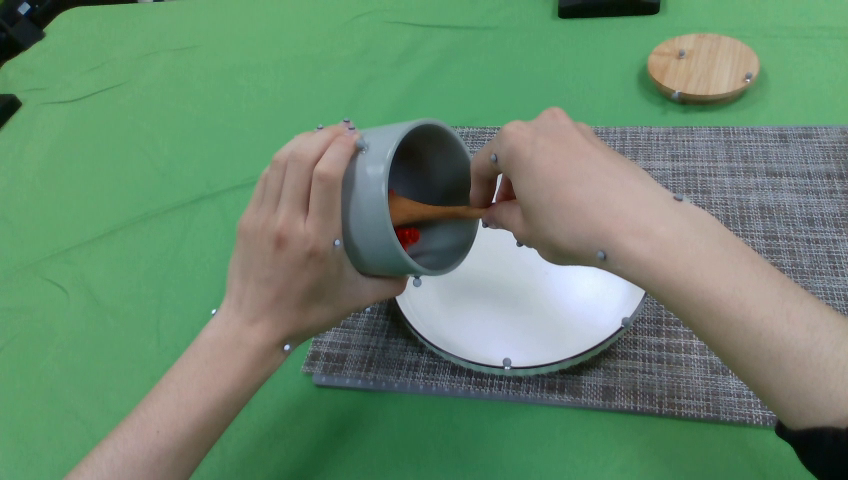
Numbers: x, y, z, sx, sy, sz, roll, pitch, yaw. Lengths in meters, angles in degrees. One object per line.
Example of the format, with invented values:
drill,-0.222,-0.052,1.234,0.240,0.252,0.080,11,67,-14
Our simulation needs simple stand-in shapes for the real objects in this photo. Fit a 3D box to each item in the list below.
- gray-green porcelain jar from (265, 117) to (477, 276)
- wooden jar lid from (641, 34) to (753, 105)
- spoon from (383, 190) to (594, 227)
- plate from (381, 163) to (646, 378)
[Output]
gray-green porcelain jar,-0.042,-0.027,0.437,0.126,0.107,0.105,-1,47,38
wooden jar lid,0.283,-0.177,0.633,0.108,0.021,0.107,-6,51,7
spoon,0.019,-0.022,0.415,0.193,0.022,0.041,-1,60,25
plate,0.070,0.023,0.496,0.207,0.039,0.205,-6,50,7
